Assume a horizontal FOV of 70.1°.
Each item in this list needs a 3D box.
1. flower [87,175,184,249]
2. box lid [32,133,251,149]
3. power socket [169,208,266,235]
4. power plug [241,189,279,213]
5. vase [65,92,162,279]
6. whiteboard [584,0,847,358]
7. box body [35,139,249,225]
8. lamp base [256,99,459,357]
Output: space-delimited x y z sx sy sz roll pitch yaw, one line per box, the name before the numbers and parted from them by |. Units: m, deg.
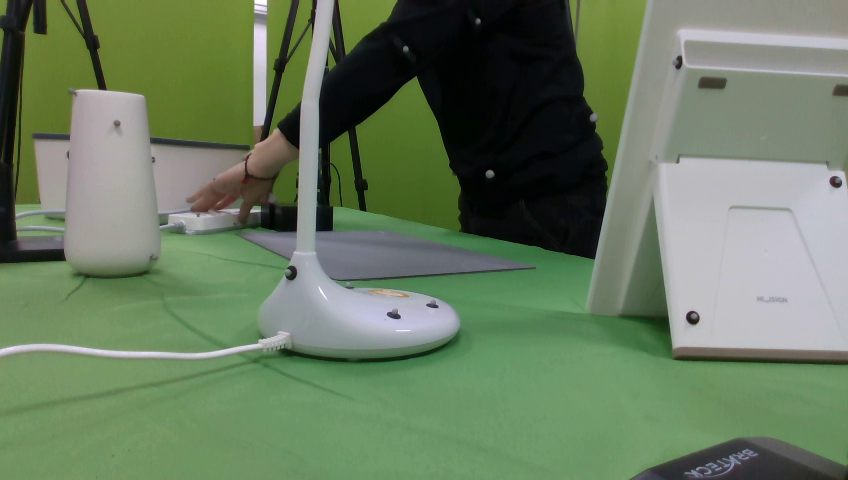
flower | -0.610 -0.063 1.291 0.044 0.038 0.361 -5 25 9
box lid | -0.558 -0.200 1.250 0.263 0.015 0.372 5 8 13
power socket | -0.379 -0.038 1.129 0.072 0.032 0.227 4 8 18
power plug | -0.346 -0.083 1.286 0.072 0.052 0.035 -2 5 5
vase | -0.347 -0.060 0.673 0.098 0.200 0.098 1 7 0
whiteboard | 0.269 -0.034 0.466 0.217 0.305 0.143 2 27 -1
box body | -0.561 -0.127 1.258 0.254 0.160 0.365 4 8 13
lamp base | -0.055 -0.013 0.463 0.160 0.180 0.180 6 11 27
